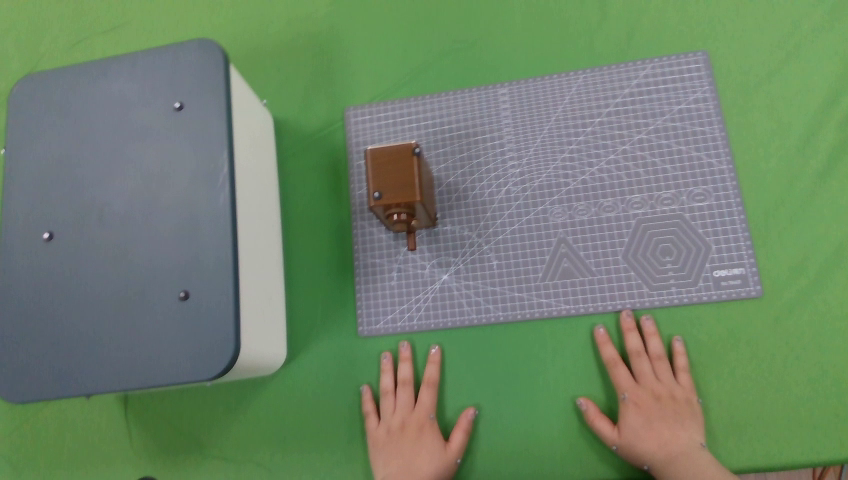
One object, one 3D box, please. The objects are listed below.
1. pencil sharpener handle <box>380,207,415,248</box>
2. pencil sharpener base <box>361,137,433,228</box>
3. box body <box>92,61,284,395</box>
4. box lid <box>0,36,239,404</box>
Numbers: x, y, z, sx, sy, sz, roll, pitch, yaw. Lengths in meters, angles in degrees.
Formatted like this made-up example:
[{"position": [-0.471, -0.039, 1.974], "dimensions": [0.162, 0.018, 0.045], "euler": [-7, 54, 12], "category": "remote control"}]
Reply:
[{"position": [-0.024, -0.012, 0.661], "dimensions": [0.036, 0.068, 0.030], "euler": [-9, 75, 16], "category": "pencil sharpener handle"}, {"position": [-0.028, -0.058, 0.686], "dimensions": [0.061, 0.107, 0.076], "euler": [-7, 76, 7], "category": "pencil sharpener base"}, {"position": [-0.309, -0.011, 0.695], "dimensions": [0.254, 0.161, 0.362], "euler": [-9, 75, 7], "category": "box body"}, {"position": [-0.321, -0.031, 0.625], "dimensions": [0.263, 0.015, 0.369], "euler": [-9, 76, 7], "category": "box lid"}]
